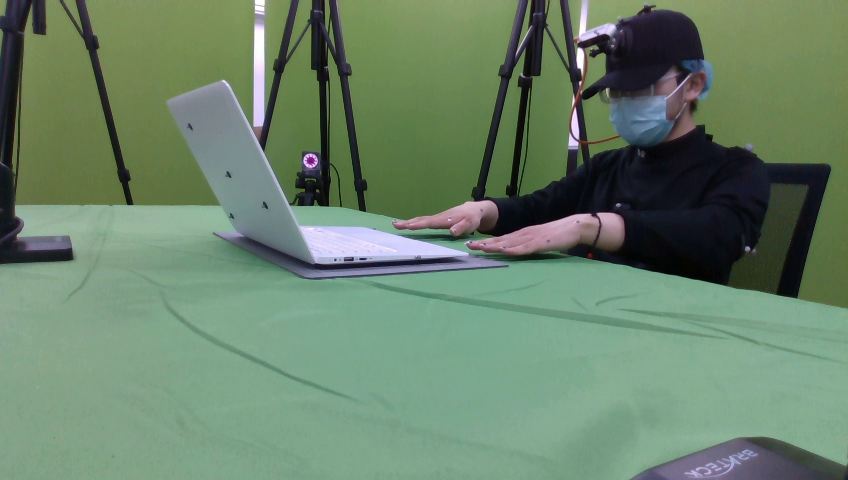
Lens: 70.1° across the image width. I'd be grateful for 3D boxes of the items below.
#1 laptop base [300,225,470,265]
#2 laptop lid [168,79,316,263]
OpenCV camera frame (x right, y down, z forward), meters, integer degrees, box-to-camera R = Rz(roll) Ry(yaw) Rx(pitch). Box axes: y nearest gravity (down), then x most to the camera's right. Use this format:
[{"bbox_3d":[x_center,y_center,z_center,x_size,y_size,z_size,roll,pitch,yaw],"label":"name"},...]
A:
[{"bbox_3d":[-0.123,0.005,0.936,0.237,0.023,0.352,2,6,-33],"label":"laptop base"},{"bbox_3d":[-0.264,-0.093,0.831,0.013,0.242,0.355,-33,25,-25],"label":"laptop lid"}]
